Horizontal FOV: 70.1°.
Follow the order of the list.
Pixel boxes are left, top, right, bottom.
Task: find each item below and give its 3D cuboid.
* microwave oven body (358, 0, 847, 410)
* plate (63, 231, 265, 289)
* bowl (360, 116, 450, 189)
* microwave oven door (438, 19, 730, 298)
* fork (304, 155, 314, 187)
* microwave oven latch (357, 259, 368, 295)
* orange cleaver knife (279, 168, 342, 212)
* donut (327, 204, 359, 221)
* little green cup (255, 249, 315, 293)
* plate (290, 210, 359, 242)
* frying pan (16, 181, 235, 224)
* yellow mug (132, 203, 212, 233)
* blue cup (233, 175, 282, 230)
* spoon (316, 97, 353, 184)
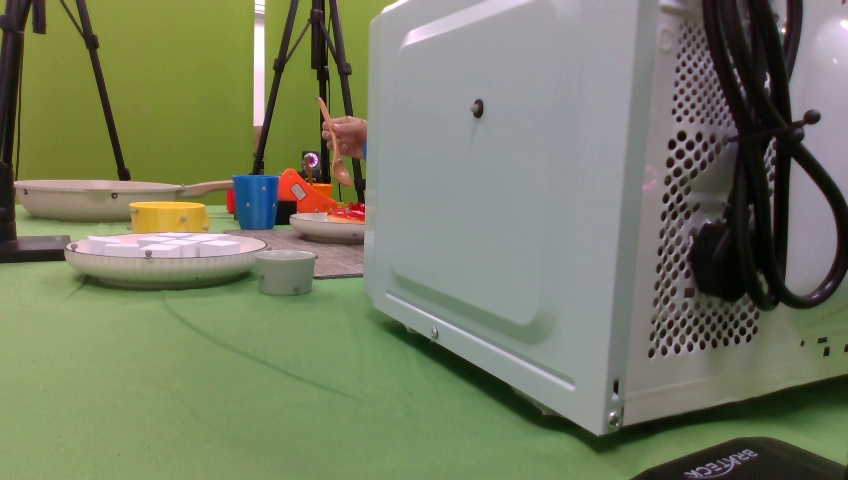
[{"bbox_3d":[0.210,-0.051,0.471,0.444,0.260,0.324,-1,7,-28],"label":"microwave oven body"},{"bbox_3d":[-0.288,0.021,0.687,0.208,0.039,0.207,2,8,0],"label":"plate"},{"bbox_3d":[-0.023,-0.133,0.990,0.151,0.076,0.151,-14,-14,-3],"label":"bowl"},{"bbox_3d":[0.181,-0.076,0.618,0.358,0.243,0.039,-2,8,-28],"label":"microwave oven door"},{"bbox_3d":[-0.268,-0.134,1.446,0.028,0.018,0.207,1,-36,-1],"label":"fork"},{"bbox_3d":[-0.019,0.031,0.529,0.079,0.029,0.030,-1,7,-26],"label":"microwave oven latch"},{"bbox_3d":[-0.236,-0.084,1.332,0.212,0.077,0.012,31,-9,-31],"label":"orange cleaver knife"},{"bbox_3d":[-0.120,-0.037,1.056,0.099,0.048,0.099,5,7,0],"label":"donut"},{"bbox_3d":[-0.144,0.031,0.627,0.061,0.038,0.061,2,6,0],"label":"little green cup"},{"bbox_3d":[-0.127,-0.025,1.051,0.209,0.038,0.209,2,7,0],"label":"plate"},{"bbox_3d":[-0.554,-0.097,1.266,0.490,0.102,0.305,-10,13,-24],"label":"frying pan"},{"bbox_3d":[-0.356,-0.020,0.878,0.099,0.064,0.131,5,7,22],"label":"yellow mug"},{"bbox_3d":[-0.314,-0.071,1.141,0.093,0.100,0.092,0,7,0],"label":"blue cup"},{"bbox_3d":[-0.167,-0.185,1.116,0.021,0.193,0.042,-29,-21,35],"label":"spoon"}]
